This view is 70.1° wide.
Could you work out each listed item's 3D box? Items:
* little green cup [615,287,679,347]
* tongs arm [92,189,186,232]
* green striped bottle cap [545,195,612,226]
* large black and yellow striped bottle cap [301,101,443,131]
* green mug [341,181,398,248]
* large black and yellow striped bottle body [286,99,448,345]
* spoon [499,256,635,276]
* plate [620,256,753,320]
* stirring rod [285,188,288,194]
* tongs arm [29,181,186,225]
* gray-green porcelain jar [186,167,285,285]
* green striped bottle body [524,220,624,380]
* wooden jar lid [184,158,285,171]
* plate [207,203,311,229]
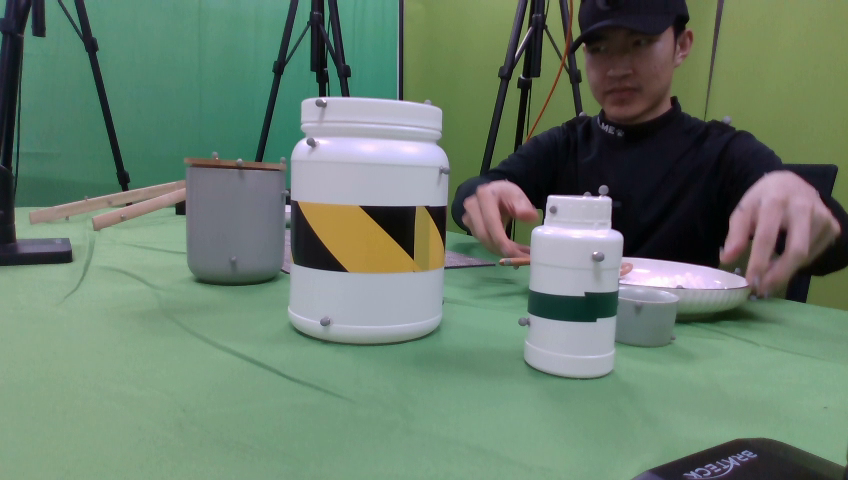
[{"bbox_3d":[0.180,0.064,0.506,0.061,0.038,0.061,2,8,0],"label":"little green cup"},{"bbox_3d":[-0.534,-0.076,1.221,0.028,0.028,0.388,-2,15,12],"label":"tongs arm"},{"bbox_3d":[0.106,-0.020,0.414,0.044,0.020,0.044,2,4,0],"label":"green striped bottle cap"},{"bbox_3d":[-0.042,-0.100,0.491,0.115,0.019,0.115,1,8,0],"label":"large black and yellow striped bottle cap"},{"bbox_3d":[-0.090,-0.044,0.997,0.093,0.105,0.125,1,7,-8],"label":"green mug"},{"bbox_3d":[-0.047,-0.018,0.501,0.131,0.184,0.130,2,7,0],"label":"large black and yellow striped bottle body"},{"bbox_3d":[0.162,0.027,0.679,0.195,0.021,0.041,7,2,-30],"label":"spoon"},{"bbox_3d":[0.234,0.049,0.651,0.209,0.038,0.209,2,7,0],"label":"plate"},{"bbox_3d":[-0.354,-0.122,1.518,0.006,0.014,0.176,2,6,1],"label":"stirring rod"},{"bbox_3d":[-0.609,-0.083,1.245,0.050,0.026,0.386,5,16,23],"label":"tongs arm"},{"bbox_3d":[-0.212,-0.017,0.682,0.106,0.126,0.106,2,7,0],"label":"gray-green porcelain jar"},{"bbox_3d":[0.104,0.031,0.422,0.063,0.119,0.063,2,8,0],"label":"green striped bottle body"},{"bbox_3d":[-0.210,-0.078,0.674,0.108,0.020,0.108,4,6,0],"label":"wooden jar lid"},{"bbox_3d":[-0.342,-0.050,1.259,0.208,0.039,0.207,2,7,0],"label":"plate"}]
